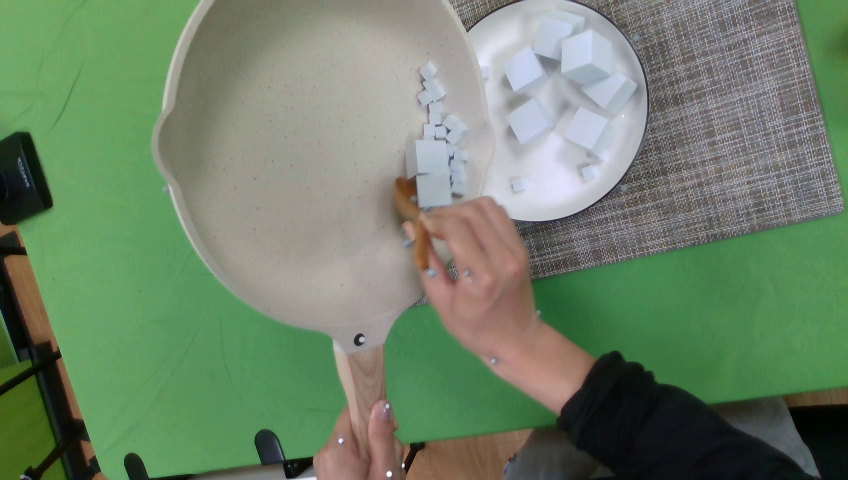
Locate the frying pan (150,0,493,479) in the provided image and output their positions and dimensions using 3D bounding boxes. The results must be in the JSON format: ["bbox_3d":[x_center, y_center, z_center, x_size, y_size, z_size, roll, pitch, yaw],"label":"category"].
[{"bbox_3d":[-0.059,0.029,0.490,0.102,0.308,0.488,0,97,48],"label":"frying pan"}]

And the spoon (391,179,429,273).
[{"bbox_3d":[-0.009,-0.015,0.477,0.021,0.192,0.042,-28,108,1],"label":"spoon"}]

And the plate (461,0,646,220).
[{"bbox_3d":[0.106,-0.124,0.585,0.206,0.039,0.208,4,102,23],"label":"plate"}]
